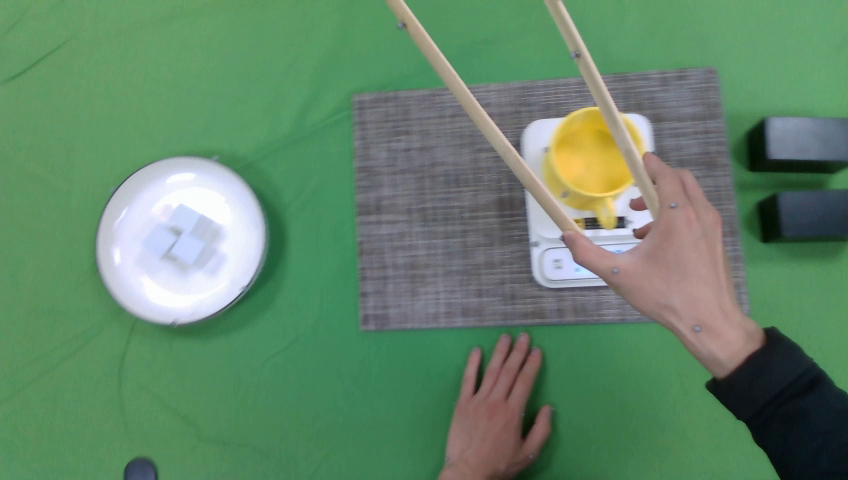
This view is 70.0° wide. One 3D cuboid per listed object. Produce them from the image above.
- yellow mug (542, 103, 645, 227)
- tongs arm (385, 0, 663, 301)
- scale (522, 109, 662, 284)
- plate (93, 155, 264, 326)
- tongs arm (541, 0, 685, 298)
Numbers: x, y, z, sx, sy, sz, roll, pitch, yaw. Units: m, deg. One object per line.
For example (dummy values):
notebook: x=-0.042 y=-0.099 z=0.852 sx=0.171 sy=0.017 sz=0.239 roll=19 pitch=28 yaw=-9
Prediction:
yellow mug: x=0.187 y=-0.078 z=0.666 sx=0.100 sy=0.064 sz=0.130 roll=-13 pitch=82 yaw=2
tongs arm: x=0.062 y=-0.100 z=0.511 sx=0.028 sy=0.028 sz=0.386 roll=-35 pitch=82 yaw=-15
scale: x=0.195 y=-0.052 z=0.709 sx=0.148 sy=0.031 sz=0.200 roll=-4 pitch=82 yaw=4
plate: x=-0.294 y=0.001 z=0.739 sx=0.207 sy=0.039 sz=0.207 roll=-1 pitch=81 yaw=4
tongs arm: x=0.128 y=-0.134 z=0.523 sx=0.051 sy=0.026 sz=0.383 roll=-24 pitch=80 yaw=-10
